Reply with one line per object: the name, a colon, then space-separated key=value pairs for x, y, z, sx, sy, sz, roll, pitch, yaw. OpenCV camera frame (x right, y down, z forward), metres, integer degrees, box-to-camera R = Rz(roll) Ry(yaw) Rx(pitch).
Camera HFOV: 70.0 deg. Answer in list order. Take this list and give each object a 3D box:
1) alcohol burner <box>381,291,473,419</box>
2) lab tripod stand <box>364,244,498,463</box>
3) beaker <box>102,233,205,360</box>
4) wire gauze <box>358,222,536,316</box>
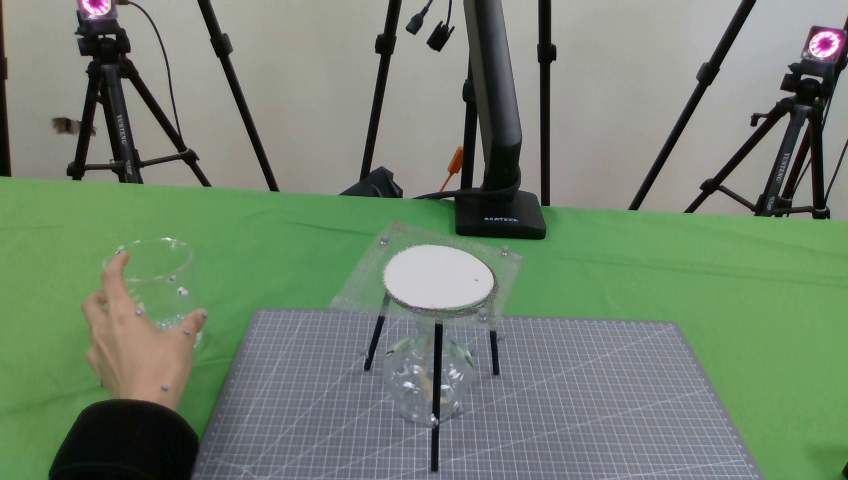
alcohol burner: x=0.004 y=0.091 z=0.506 sx=0.078 sy=0.120 sz=0.077 roll=4 pitch=31 yaw=-2
lab tripod stand: x=0.011 y=0.083 z=0.501 sx=0.148 sy=0.132 sz=0.147 roll=4 pitch=33 yaw=-2
beaker: x=-0.245 y=0.053 z=0.563 sx=0.074 sy=0.101 sz=0.083 roll=10 pitch=31 yaw=9
wire gauze: x=0.015 y=0.015 z=0.452 sx=0.125 sy=0.011 sz=0.120 roll=8 pitch=26 yaw=-7
